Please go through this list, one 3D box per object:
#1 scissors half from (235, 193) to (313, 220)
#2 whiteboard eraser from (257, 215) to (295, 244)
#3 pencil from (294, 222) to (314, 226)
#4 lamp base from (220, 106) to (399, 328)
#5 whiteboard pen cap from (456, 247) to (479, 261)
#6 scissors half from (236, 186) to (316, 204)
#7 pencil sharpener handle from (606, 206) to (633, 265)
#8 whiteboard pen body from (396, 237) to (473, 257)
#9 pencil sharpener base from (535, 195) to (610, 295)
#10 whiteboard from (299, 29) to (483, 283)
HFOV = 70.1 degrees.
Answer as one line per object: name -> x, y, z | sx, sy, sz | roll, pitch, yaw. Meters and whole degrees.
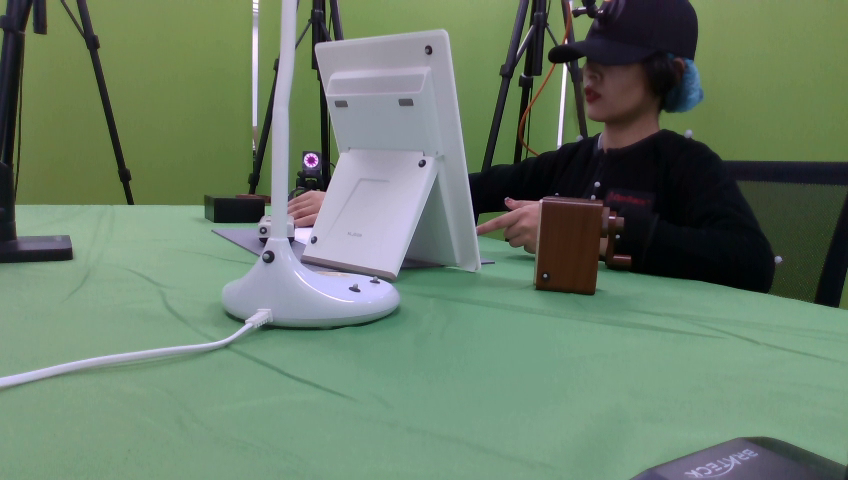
scissors half -> -0.325, -0.077, 1.319 | 0.176, 0.040, 0.012 | 17, 6, -31
whiteboard eraser -> -0.232, -0.016, 0.951 | 0.056, 0.042, 0.112 | 1, 7, -12
pencil -> -0.215, -0.032, 1.204 | 0.195, 0.012, 0.012 | -2, 9, -34
lamp base -> -0.101, -0.023, 0.531 | 0.160, 0.180, 0.179 | 4, 10, 10
whiteboard pen cap -> 0.060, 0.020, 0.851 | 0.033, 0.018, 0.018 | 10, 10, 37
scissors half -> -0.320, -0.097, 1.316 | 0.176, 0.040, 0.013 | -3, 11, -29
pencil sharpener handle -> 0.223, -0.004, 0.683 | 0.030, 0.068, 0.036 | 5, 20, 17
whiteboard pen body -> 0.014, 0.012, 0.886 | 0.140, 0.017, 0.017 | 10, 11, 38
pencil sharpener base -> 0.172, 0.005, 0.696 | 0.076, 0.107, 0.061 | 5, 8, 16
whiteboard -> -0.074, -0.082, 0.742 | 0.216, 0.305, 0.144 | 9, 30, 38
